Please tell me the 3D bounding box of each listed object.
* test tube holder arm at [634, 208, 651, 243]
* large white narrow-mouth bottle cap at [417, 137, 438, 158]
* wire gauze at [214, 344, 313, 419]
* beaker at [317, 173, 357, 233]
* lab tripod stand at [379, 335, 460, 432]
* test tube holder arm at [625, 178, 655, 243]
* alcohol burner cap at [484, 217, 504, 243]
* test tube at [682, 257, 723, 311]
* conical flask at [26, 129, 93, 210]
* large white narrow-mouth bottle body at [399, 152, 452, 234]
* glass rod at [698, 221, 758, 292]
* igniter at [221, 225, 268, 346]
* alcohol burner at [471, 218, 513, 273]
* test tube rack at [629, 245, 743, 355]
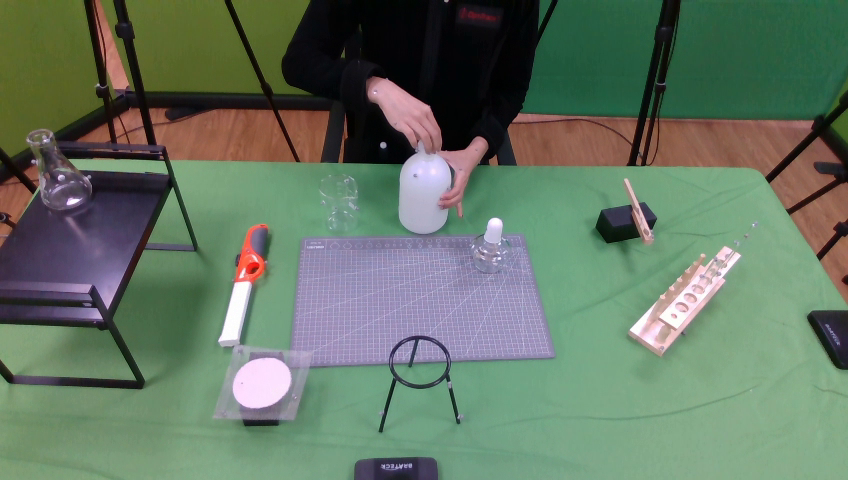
[{"bbox_3d":[0.428,-0.030,1.189,0.010,0.015,0.087,1,47,-2],"label":"test tube holder arm"},{"bbox_3d":[0.006,-0.171,1.118,0.038,0.024,0.037,2,46,-2],"label":"large white narrow-mouth bottle cap"},{"bbox_3d":[-0.241,0.213,0.916,0.121,0.011,0.124,5,46,1],"label":"wire gauze"},{"bbox_3d":[-0.166,-0.070,1.198,0.083,0.101,0.074,25,50,18],"label":"beaker"},{"bbox_3d":[-0.011,0.214,0.911,0.148,0.132,0.147,1,45,0],"label":"lab tripod stand"},{"bbox_3d":[0.433,-0.062,1.220,0.013,0.015,0.177,1,47,-3],"label":"test tube holder arm"},{"bbox_3d":[0.130,-0.021,1.107,0.034,0.048,0.033,4,40,-3],"label":"alcohol burner cap"},{"bbox_3d":[0.475,0.080,1.037,0.017,0.151,0.017,1,50,-1],"label":"test tube"},{"bbox_3d":[-0.575,-0.113,0.946,0.075,0.122,0.075,2,46,-2],"label":"conical flask"},{"bbox_3d":[0.004,-0.110,1.183,0.102,0.195,0.101,2,46,-2],"label":"large white narrow-mouth bottle body"},{"bbox_3d":[0.527,0.035,1.060,0.008,0.200,0.008,5,49,-6],"label":"glass rod"},{"bbox_3d":[-0.323,0.072,1.100,0.057,0.025,0.274,-6,45,5],"label":"igniter"},{"bbox_3d":[0.128,0.005,1.132,0.078,0.120,0.077,0,47,0],"label":"alcohol burner"},{"bbox_3d":[0.474,0.095,1.091,0.242,0.085,0.066,-34,56,-31],"label":"test tube rack"}]
